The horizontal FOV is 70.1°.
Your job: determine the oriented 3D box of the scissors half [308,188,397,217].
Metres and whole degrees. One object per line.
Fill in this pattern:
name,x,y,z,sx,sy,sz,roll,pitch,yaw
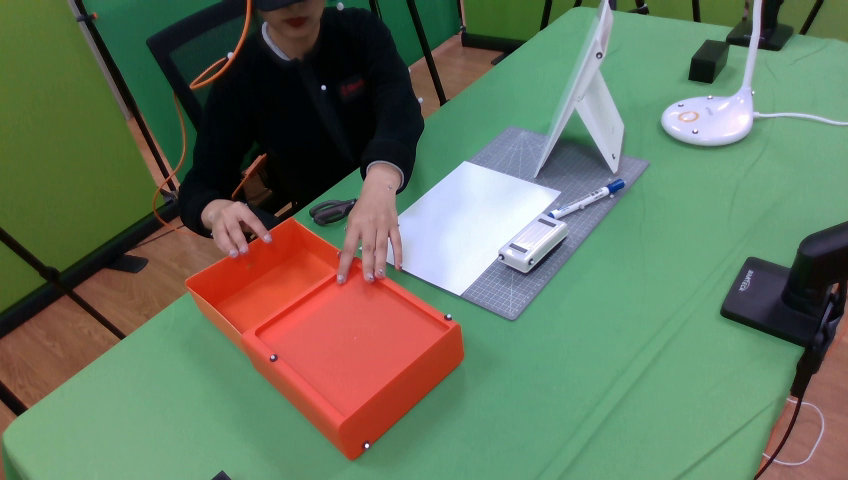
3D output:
scissors half,-0.126,-0.074,1.104,0.176,0.013,0.039,-16,26,-10

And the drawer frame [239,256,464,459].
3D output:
drawer frame,-0.093,0.139,0.788,0.211,0.083,0.202,29,52,36

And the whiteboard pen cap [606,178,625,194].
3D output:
whiteboard pen cap,0.320,-0.090,1.016,0.033,0.018,0.018,-27,43,-13

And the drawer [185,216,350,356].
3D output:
drawer,-0.209,0.074,0.893,0.195,0.073,0.210,-35,46,-29

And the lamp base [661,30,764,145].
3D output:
lamp base,0.535,-0.287,1.096,0.179,0.181,0.159,-10,40,-4

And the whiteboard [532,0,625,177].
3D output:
whiteboard,0.320,-0.259,1.050,0.144,0.306,0.217,21,45,5

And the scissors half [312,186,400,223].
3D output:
scissors half,-0.119,-0.066,1.088,0.176,0.013,0.040,-25,35,-24

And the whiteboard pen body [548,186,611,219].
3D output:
whiteboard pen body,0.267,-0.066,1.004,0.141,0.017,0.017,-25,43,-13

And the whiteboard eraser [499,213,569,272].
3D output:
whiteboard eraser,0.168,0.006,0.923,0.055,0.042,0.113,29,53,34
